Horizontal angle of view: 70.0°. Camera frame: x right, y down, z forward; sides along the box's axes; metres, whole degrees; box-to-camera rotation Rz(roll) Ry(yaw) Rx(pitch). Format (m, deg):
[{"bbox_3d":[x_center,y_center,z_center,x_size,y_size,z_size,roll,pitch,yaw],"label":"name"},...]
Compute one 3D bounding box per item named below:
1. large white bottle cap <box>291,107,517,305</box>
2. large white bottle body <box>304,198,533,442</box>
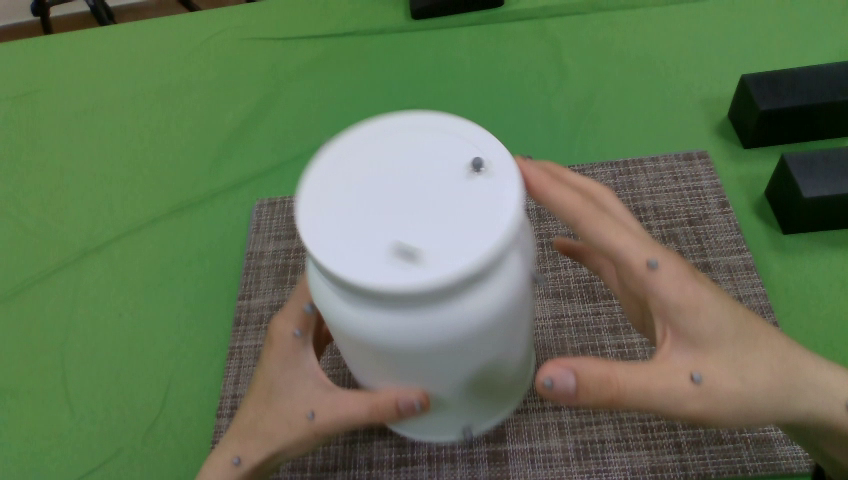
[{"bbox_3d":[-0.010,-0.021,0.308,0.115,0.018,0.114,-3,58,4],"label":"large white bottle cap"},{"bbox_3d":[0.002,0.033,0.379,0.130,0.186,0.129,-5,51,6],"label":"large white bottle body"}]
